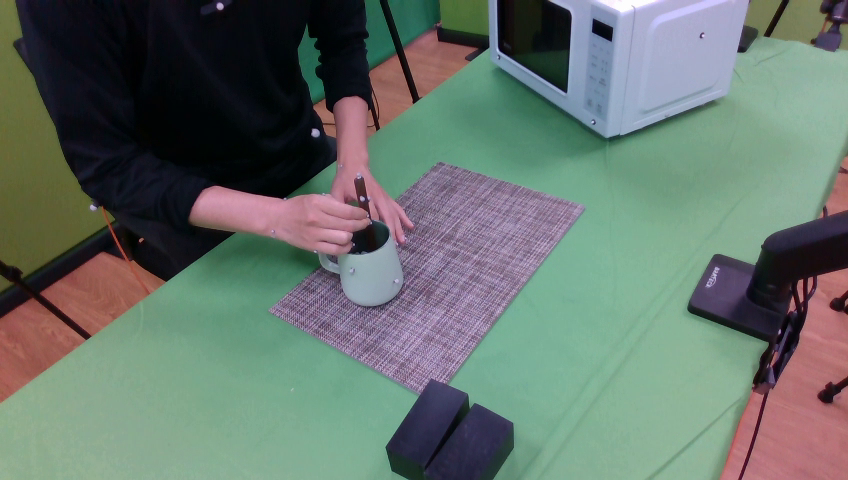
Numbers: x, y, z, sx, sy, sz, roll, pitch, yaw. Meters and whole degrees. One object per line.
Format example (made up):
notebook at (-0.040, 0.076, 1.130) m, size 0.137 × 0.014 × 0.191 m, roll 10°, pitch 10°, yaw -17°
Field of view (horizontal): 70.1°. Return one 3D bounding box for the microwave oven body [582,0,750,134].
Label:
microwave oven body at (0.382, -0.445, 1.246) m, size 0.327 × 0.261 × 0.437 m, roll -22°, pitch 42°, yaw -16°

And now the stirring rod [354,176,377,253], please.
stirring rod at (-0.079, -0.022, 0.842) m, size 0.014 × 0.177 × 0.005 m, roll -28°, pitch 51°, yaw -19°

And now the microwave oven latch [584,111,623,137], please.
microwave oven latch at (0.337, -0.222, 1.142) m, size 0.030 × 0.029 × 0.078 m, roll -21°, pitch 42°, yaw -14°

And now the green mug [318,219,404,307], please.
green mug at (-0.095, 0.032, 0.876) m, size 0.125 × 0.105 × 0.092 m, roll 8°, pitch 43°, yaw 17°

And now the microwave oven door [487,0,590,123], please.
microwave oven door at (0.232, -0.420, 1.230) m, size 0.039 × 0.245 × 0.352 m, roll -22°, pitch 43°, yaw -16°
